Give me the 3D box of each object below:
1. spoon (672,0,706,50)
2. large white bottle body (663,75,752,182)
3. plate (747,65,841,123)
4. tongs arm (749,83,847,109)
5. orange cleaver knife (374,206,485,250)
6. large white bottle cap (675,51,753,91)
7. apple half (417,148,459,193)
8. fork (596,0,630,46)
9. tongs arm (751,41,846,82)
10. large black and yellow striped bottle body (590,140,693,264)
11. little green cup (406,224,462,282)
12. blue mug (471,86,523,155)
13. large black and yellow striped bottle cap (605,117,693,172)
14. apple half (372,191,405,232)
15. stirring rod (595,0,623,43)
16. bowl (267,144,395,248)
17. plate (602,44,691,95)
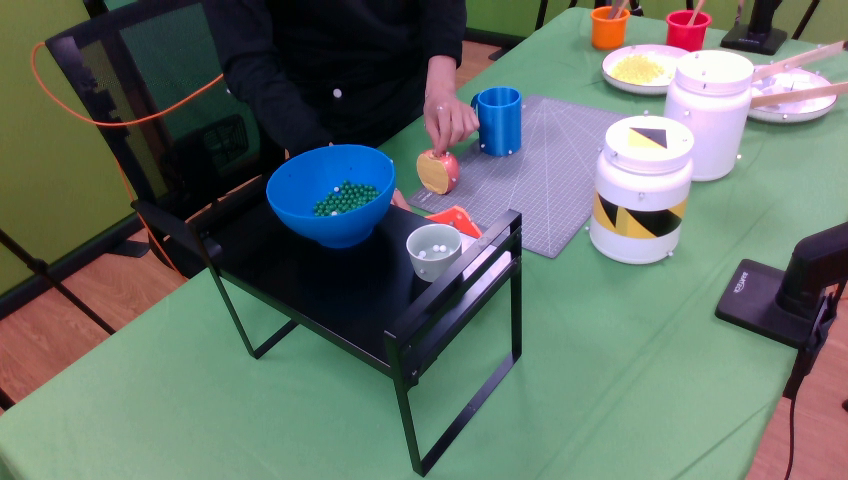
[{"bbox_3d":[0.629,-0.520,1.394,0.041,0.022,0.193,30,97,34],"label":"spoon"},{"bbox_3d":[0.472,-0.207,1.022,0.130,0.185,0.130,-4,41,4],"label":"large white bottle body"},{"bbox_3d":[0.694,-0.283,1.189,0.207,0.039,0.206,-4,40,4],"label":"plate"},{"bbox_3d":[0.734,-0.280,1.133,0.388,0.028,0.028,-9,47,-5],"label":"tongs arm"},{"bbox_3d":[0.003,-0.013,0.932,0.209,0.077,0.012,-1,34,44],"label":"orange cleaver knife"},{"bbox_3d":[0.463,-0.271,0.967,0.115,0.018,0.114,-4,40,3],"label":"large white bottle cap"},{"bbox_3d":[0.033,-0.128,1.080,0.080,0.075,0.053,24,46,38],"label":"apple half"},{"bbox_3d":[0.481,-0.556,1.452,0.028,0.019,0.207,40,103,41],"label":"fork"},{"bbox_3d":[0.708,-0.331,1.194,0.386,0.026,0.050,-18,45,-16],"label":"tongs arm"},{"bbox_3d":[0.317,-0.071,0.889,0.131,0.185,0.130,-4,41,4],"label":"large black and yellow striped bottle body"},{"bbox_3d":[0.012,0.015,0.668,0.061,0.039,0.061,-4,40,4],"label":"little green cup"},{"bbox_3d":[0.135,-0.235,1.163,0.082,0.106,0.115,-36,48,-28],"label":"blue mug"},{"bbox_3d":[0.309,-0.134,0.833,0.115,0.019,0.114,-5,40,5],"label":"large black and yellow striped bottle cap"},{"bbox_3d":[-0.059,-0.046,1.028,0.081,0.033,0.081,-25,50,34],"label":"apple half"},{"bbox_3d":[0.460,-0.556,1.459,0.014,0.006,0.176,30,93,23],"label":"stirring rod"},{"bbox_3d":[-0.104,-0.043,0.726,0.151,0.077,0.150,-4,40,4],"label":"bowl"},{"bbox_3d":[0.495,-0.367,1.317,0.209,0.038,0.208,-4,40,4],"label":"plate"}]
